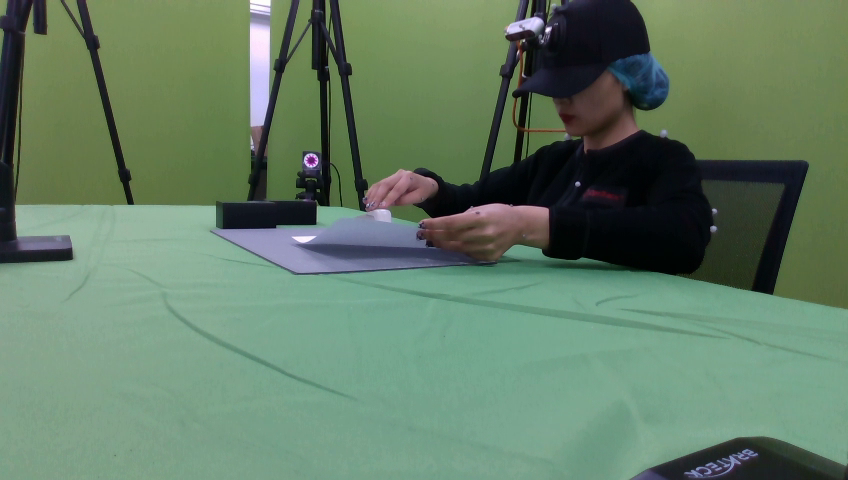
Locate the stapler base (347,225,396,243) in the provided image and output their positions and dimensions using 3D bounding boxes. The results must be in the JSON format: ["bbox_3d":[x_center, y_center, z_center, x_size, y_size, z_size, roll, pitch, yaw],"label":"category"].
[{"bbox_3d":[-0.092,-0.014,1.061,0.041,0.024,0.130,0,6,-30],"label":"stapler base"}]

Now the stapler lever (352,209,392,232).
[{"bbox_3d":[-0.092,-0.038,1.059,0.027,0.040,0.117,0,7,-30],"label":"stapler lever"}]
